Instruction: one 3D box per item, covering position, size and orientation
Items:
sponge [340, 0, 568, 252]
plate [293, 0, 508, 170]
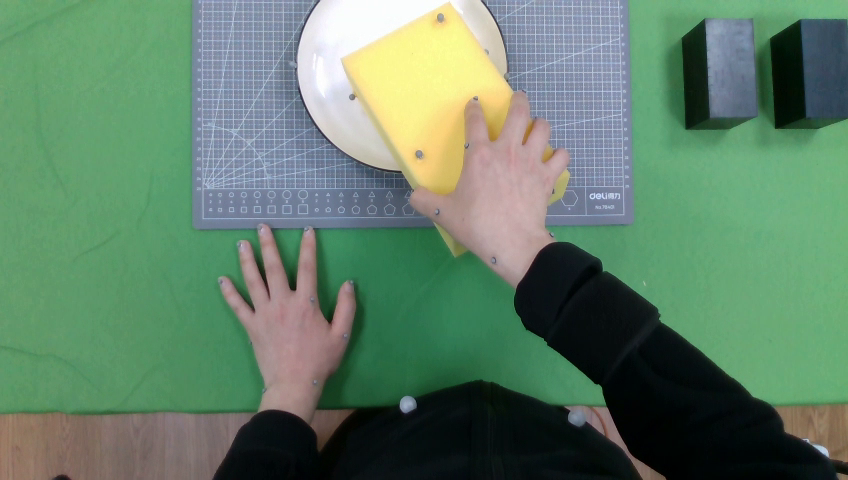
[{"bbox_3d":[0.025,-0.107,0.563,0.118,0.061,0.205,-30,75,-4],"label":"sponge"},{"bbox_3d":[-0.022,-0.170,0.606,0.209,0.038,0.209,0,88,-4],"label":"plate"}]
